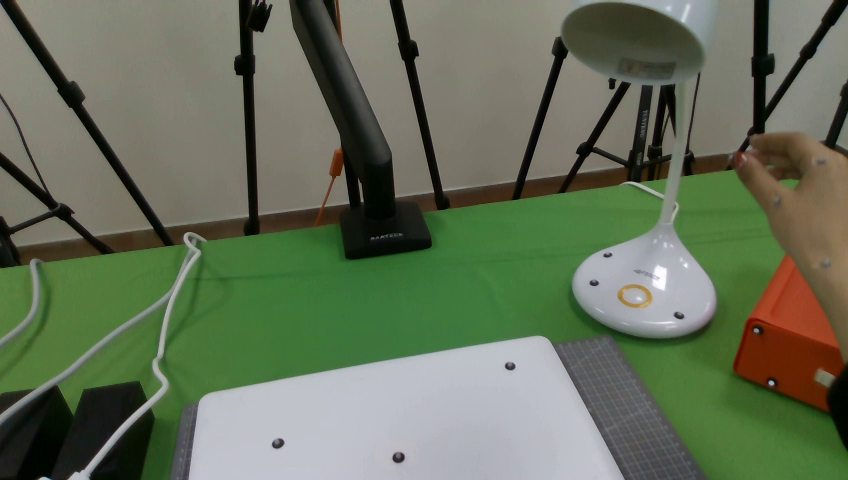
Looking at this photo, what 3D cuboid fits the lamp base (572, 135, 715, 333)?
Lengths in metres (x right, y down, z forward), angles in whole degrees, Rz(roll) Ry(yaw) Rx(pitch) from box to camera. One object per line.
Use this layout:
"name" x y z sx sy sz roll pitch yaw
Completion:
"lamp base" 0.258 -0.017 0.681 0.159 0.181 0.178 13 34 24

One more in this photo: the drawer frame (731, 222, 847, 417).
"drawer frame" 0.446 0.084 0.602 0.200 0.083 0.213 21 39 33

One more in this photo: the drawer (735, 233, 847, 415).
"drawer" 0.446 0.088 0.601 0.193 0.074 0.212 21 39 33

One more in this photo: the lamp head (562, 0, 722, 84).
"lamp head" 0.180 -0.197 0.469 0.111 0.113 0.122 18 77 29

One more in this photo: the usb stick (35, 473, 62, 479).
"usb stick" -0.281 0.204 0.455 0.021 0.059 0.027 17 35 11

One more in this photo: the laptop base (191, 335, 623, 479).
"laptop base" -0.021 0.193 0.526 0.355 0.023 0.233 -8 37 -9

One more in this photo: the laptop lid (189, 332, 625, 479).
"laptop lid" -0.021 0.185 0.517 0.357 0.013 0.239 -7 36 -7

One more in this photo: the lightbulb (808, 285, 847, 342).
"lightbulb" 0.442 0.084 0.621 0.059 0.060 0.107 -1 17 3

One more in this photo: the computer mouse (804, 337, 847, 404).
"computer mouse" 0.419 0.130 0.561 0.116 0.041 0.062 21 39 24
